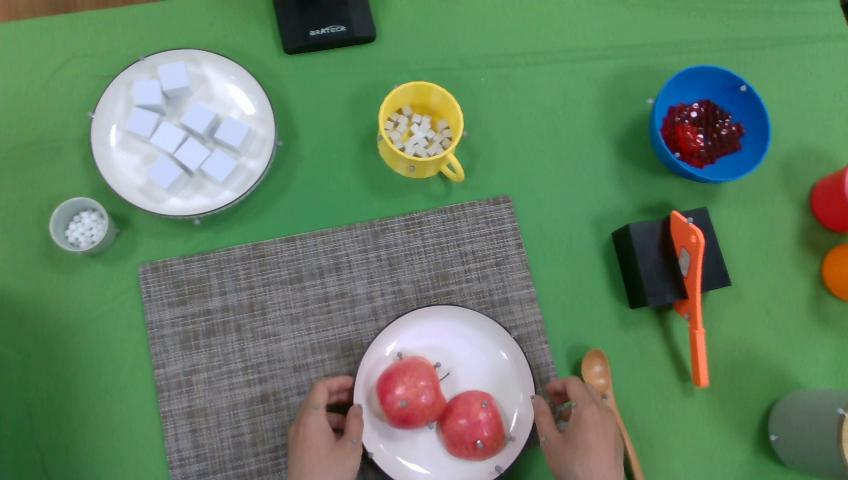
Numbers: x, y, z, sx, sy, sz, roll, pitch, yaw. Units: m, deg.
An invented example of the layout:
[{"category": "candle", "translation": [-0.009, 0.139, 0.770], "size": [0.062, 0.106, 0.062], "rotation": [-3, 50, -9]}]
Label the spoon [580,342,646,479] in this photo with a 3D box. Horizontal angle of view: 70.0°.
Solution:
[{"category": "spoon", "translation": [0.229, 0.215, 0.717], "size": [0.042, 0.021, 0.193], "rotation": [-16, 81, -29]}]

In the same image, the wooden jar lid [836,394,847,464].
[{"category": "wooden jar lid", "translation": [0.476, 0.201, 0.632], "size": [0.108, 0.021, 0.108], "rotation": [1, 81, -7]}]

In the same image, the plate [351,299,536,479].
[{"category": "plate", "translation": [0.021, 0.172, 0.690], "size": [0.209, 0.038, 0.208], "rotation": [1, 80, -7]}]

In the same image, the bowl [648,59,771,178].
[{"category": "bowl", "translation": [0.346, -0.142, 0.770], "size": [0.151, 0.077, 0.150], "rotation": [1, 80, -6]}]

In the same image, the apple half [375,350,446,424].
[{"category": "apple half", "translation": [-0.015, 0.164, 0.672], "size": [0.075, 0.053, 0.080], "rotation": [-15, 81, -6]}]

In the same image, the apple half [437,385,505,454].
[{"category": "apple half", "translation": [0.054, 0.204, 0.681], "size": [0.081, 0.033, 0.081], "rotation": [1, 76, -4]}]

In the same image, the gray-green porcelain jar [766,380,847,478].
[{"category": "gray-green porcelain jar", "translation": [0.470, 0.214, 0.692], "size": [0.106, 0.127, 0.105], "rotation": [1, 78, -6]}]

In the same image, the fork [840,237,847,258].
[{"category": "fork", "translation": [0.560, 0.063, 0.719], "size": [0.028, 0.019, 0.205], "rotation": [3, 36, -5]}]

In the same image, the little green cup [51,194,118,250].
[{"category": "little green cup", "translation": [-0.379, -0.017, 0.682], "size": [0.062, 0.038, 0.061], "rotation": [1, 79, -8]}]

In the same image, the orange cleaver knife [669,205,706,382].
[{"category": "orange cleaver knife", "translation": [0.314, 0.064, 0.725], "size": [0.012, 0.077, 0.212], "rotation": [-10, 104, -4]}]

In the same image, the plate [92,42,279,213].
[{"category": "plate", "translation": [-0.276, -0.130, 0.717], "size": [0.208, 0.039, 0.206], "rotation": [1, 79, -6]}]

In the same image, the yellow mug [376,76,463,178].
[{"category": "yellow mug", "translation": [0.004, -0.127, 0.734], "size": [0.100, 0.064, 0.130], "rotation": [-41, 87, -12]}]
